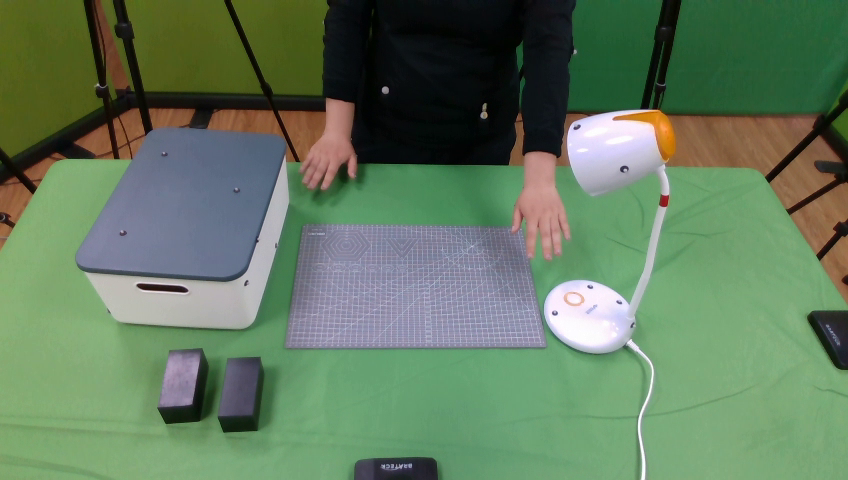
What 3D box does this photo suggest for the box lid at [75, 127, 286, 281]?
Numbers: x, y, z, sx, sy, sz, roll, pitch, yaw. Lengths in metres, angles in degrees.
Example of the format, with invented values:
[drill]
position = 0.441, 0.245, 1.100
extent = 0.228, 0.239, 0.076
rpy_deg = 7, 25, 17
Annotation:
[box lid]
position = -0.398, -0.075, 1.039
extent = 0.263, 0.015, 0.369
rpy_deg = 4, 45, -1

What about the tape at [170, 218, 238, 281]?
[tape]
position = -0.406, 0.017, 1.121
extent = 0.117, 0.053, 0.116
rpy_deg = 2, 46, -2

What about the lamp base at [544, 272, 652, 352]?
[lamp base]
position = 0.309, 0.086, 1.029
extent = 0.178, 0.181, 0.160
rpy_deg = 32, 52, 21

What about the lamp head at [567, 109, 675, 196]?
[lamp head]
position = 0.272, -0.123, 0.818
extent = 0.122, 0.113, 0.112
rpy_deg = -9, 35, 37

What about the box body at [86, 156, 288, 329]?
[box body]
position = -0.401, -0.025, 1.094
extent = 0.254, 0.161, 0.362
rpy_deg = 3, 46, -1
